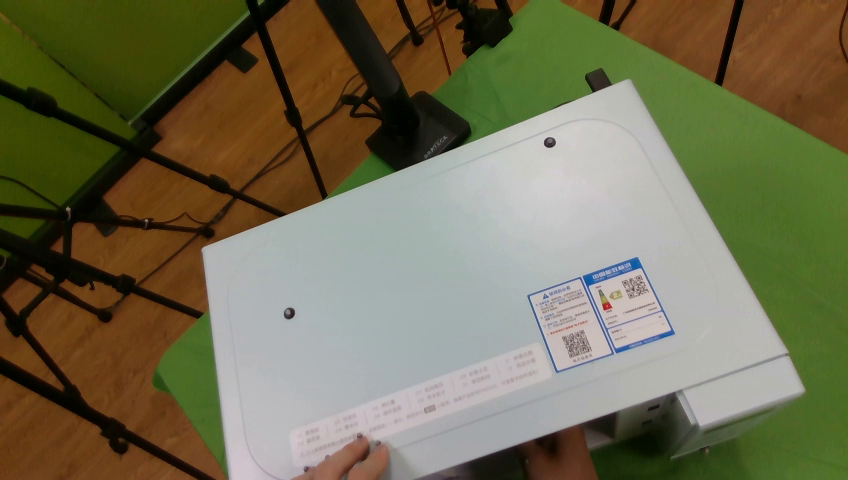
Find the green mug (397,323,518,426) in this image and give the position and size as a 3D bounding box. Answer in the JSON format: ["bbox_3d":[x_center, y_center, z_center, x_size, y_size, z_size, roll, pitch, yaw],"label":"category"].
[{"bbox_3d":[0.039,0.144,0.610,0.124,0.106,0.092,27,76,26],"label":"green mug"}]

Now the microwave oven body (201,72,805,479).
[{"bbox_3d":[0.053,0.088,0.616,0.441,0.262,0.323,-21,63,6],"label":"microwave oven body"}]

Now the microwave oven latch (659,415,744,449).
[{"bbox_3d":[0.282,0.187,0.616,0.079,0.030,0.030,-20,63,7],"label":"microwave oven latch"}]
